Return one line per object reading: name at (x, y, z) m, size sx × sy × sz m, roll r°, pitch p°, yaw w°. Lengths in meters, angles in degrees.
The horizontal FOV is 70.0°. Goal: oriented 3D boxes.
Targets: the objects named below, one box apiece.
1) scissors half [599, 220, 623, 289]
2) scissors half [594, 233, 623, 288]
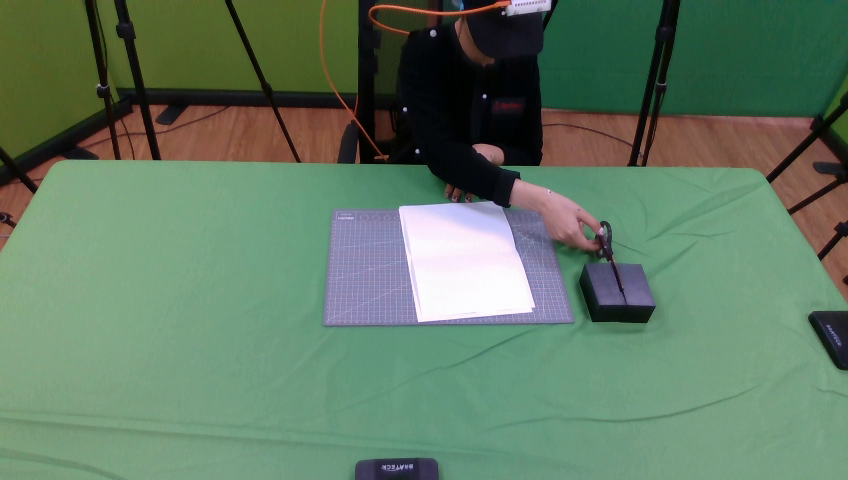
scissors half at (0.354, 0.024, 1.142) m, size 0.013 × 0.040 × 0.174 m, roll 4°, pitch 47°, yaw -3°
scissors half at (0.351, 0.040, 1.154) m, size 0.013 × 0.040 × 0.174 m, roll 8°, pitch 29°, yaw -6°
